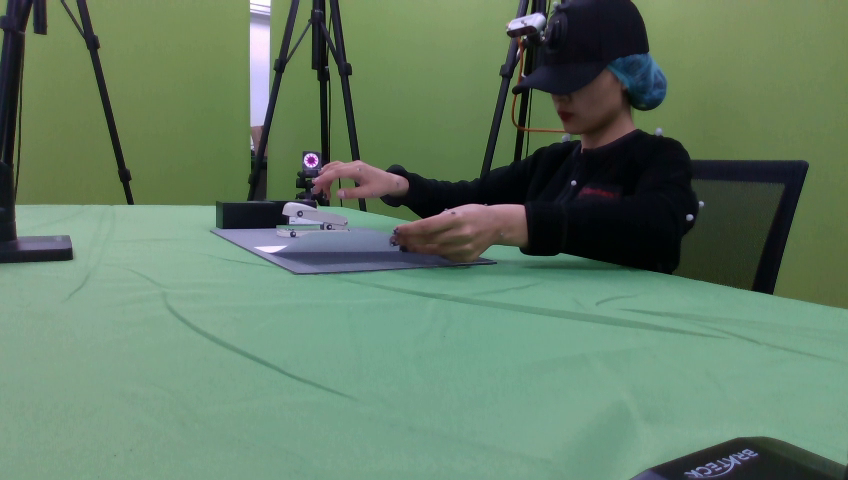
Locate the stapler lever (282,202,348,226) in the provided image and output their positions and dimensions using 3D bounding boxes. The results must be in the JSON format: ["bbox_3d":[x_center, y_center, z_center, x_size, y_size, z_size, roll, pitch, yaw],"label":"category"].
[{"bbox_3d":[-0.193,-0.045,1.073,0.119,0.040,0.026,0,10,-33],"label":"stapler lever"}]

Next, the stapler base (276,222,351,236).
[{"bbox_3d":[-0.196,-0.021,1.075,0.131,0.024,0.041,0,10,-33],"label":"stapler base"}]
